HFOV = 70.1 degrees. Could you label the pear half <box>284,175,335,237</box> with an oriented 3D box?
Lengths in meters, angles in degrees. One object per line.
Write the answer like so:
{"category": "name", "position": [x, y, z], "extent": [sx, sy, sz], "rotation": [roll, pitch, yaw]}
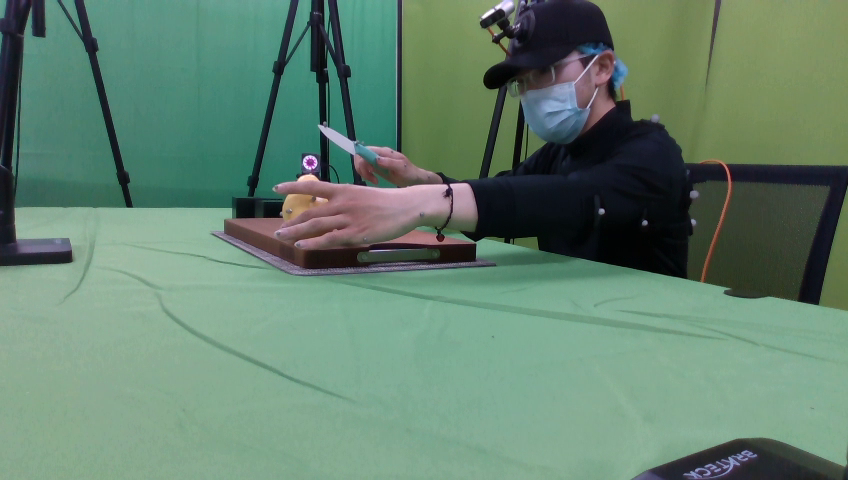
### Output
{"category": "pear half", "position": [-0.164, -0.048, 0.852], "extent": [0.071, 0.088, 0.031], "rotation": [-8, 11, -20]}

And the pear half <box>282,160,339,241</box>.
{"category": "pear half", "position": [-0.153, -0.053, 0.817], "extent": [0.076, 0.110, 0.056], "rotation": [-5, 9, -19]}

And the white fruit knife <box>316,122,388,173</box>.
{"category": "white fruit knife", "position": [-0.121, -0.162, 1.059], "extent": [0.016, 0.027, 0.208], "rotation": [-3, -15, 29]}
